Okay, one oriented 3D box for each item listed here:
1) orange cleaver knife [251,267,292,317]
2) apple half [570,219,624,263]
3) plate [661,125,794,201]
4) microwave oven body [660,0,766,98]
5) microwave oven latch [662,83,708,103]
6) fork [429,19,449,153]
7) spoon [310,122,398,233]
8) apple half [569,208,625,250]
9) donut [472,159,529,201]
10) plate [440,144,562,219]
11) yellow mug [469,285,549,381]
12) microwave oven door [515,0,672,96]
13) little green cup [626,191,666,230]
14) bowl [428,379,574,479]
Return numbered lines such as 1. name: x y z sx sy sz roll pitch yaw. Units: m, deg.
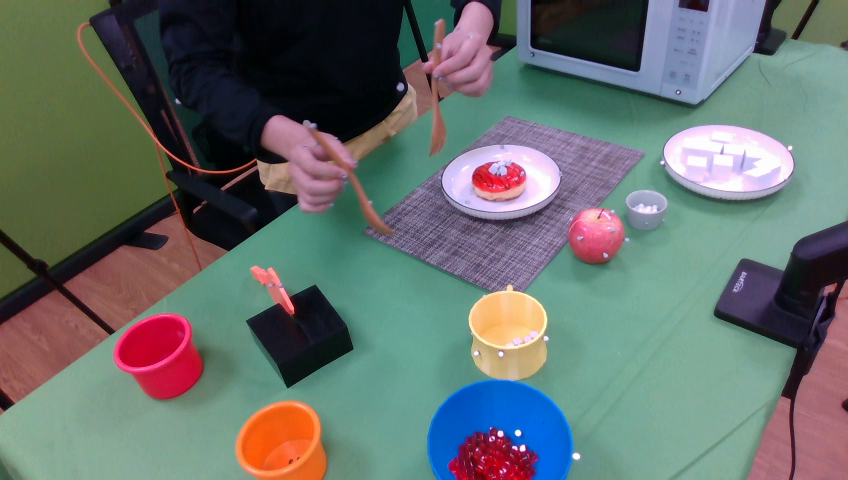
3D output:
1. orange cleaver knife: -0.221 0.071 0.873 0.012 0.077 0.210 -25 11 -21
2. apple half: 0.250 0.010 0.885 0.081 0.081 0.033 7 39 17
3. plate: 0.514 -0.128 1.035 0.207 0.039 0.206 -4 40 4
4. microwave oven body: 0.472 -0.513 1.317 0.438 0.261 0.327 26 51 34
5. microwave oven latch: 0.518 -0.296 1.204 0.078 0.029 0.030 28 52 35
6. fork: 0.021 -0.200 0.817 0.028 0.208 0.018 -29 52 -27
7. spoon: -0.087 -0.075 0.764 0.021 0.195 0.041 -42 36 -15
8. apple half: 0.262 -0.014 0.913 0.080 0.075 0.053 5 37 20
9. donut: 0.131 -0.105 1.043 0.099 0.048 0.098 -4 38 4
10. plate: 0.134 -0.098 1.051 0.209 0.038 0.208 -4 40 4
11. yellow mug: 0.112 0.112 0.792 0.100 0.064 0.130 0 40 9
12. microwave oven door: 0.343 -0.455 1.259 0.353 0.245 0.039 26 51 33
13. little green cup: 0.352 -0.046 0.963 0.061 0.039 0.061 -4 40 4
14. bowl: 0.082 0.233 0.644 0.151 0.077 0.150 -4 40 4
